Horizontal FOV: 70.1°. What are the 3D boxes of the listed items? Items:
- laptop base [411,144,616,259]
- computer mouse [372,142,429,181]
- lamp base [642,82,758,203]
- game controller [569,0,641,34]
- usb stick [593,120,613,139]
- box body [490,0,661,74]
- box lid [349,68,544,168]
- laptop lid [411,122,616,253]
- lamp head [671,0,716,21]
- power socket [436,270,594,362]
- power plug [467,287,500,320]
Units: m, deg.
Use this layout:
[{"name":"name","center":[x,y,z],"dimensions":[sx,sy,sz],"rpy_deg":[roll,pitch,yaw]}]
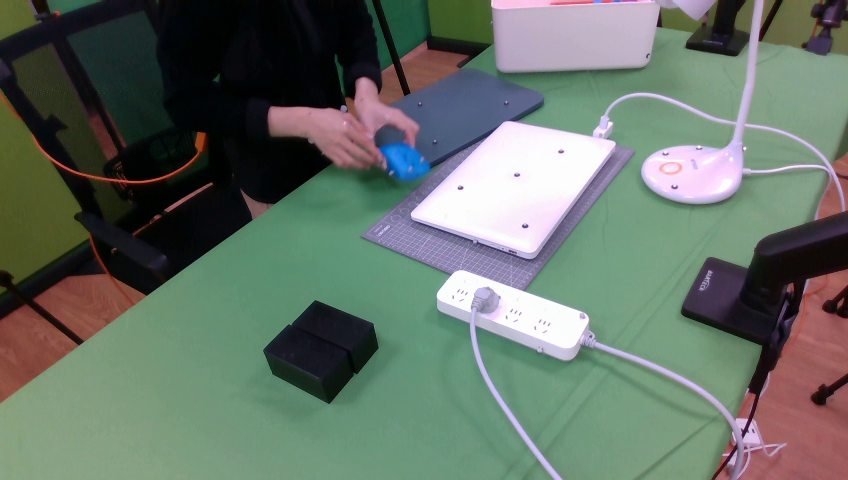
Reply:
[{"name":"laptop base","center":[0.168,-0.102,1.073],"dimensions":[0.234,0.023,0.355],"rpy_deg":[17,46,31]},{"name":"computer mouse","center":[-0.043,-0.143,1.077],"dimensions":[0.063,0.041,0.116],"rpy_deg":[-19,38,-28]},{"name":"lamp base","center":[0.464,-0.174,0.992],"dimensions":[0.179,0.181,0.159],"rpy_deg":[-5,41,-2]},{"name":"game controller","center":[0.421,-0.522,1.395],"dimensions":[0.155,0.052,0.096],"rpy_deg":[-9,44,-3]},{"name":"usb stick","center":[0.336,-0.201,1.147],"dimensions":[0.021,0.027,0.059],"rpy_deg":[26,53,27]},{"name":"box body","center":[0.346,-0.520,1.429],"dimensions":[0.363,0.161,0.253],"rpy_deg":[0,41,9]},{"name":"box lid","center":[0.051,-0.271,1.297],"dimensions":[0.373,0.015,0.261],"rpy_deg":[-32,46,-26]},{"name":"laptop lid","center":[0.164,-0.111,1.067],"dimensions":[0.240,0.013,0.357],"rpy_deg":[19,46,31]},{"name":"lamp head","center":[0.375,-0.373,0.807],"dimensions":[0.122,0.113,0.112],"rpy_deg":[-40,27,32]},{"name":"power socket","center":[0.118,0.101,0.832],"dimensions":[0.225,0.033,0.072],"rpy_deg":[19,48,27]},{"name":"power plug","center":[0.073,0.092,0.814],"dimensions":[0.035,0.053,0.073],"rpy_deg":[29,54,34]}]
